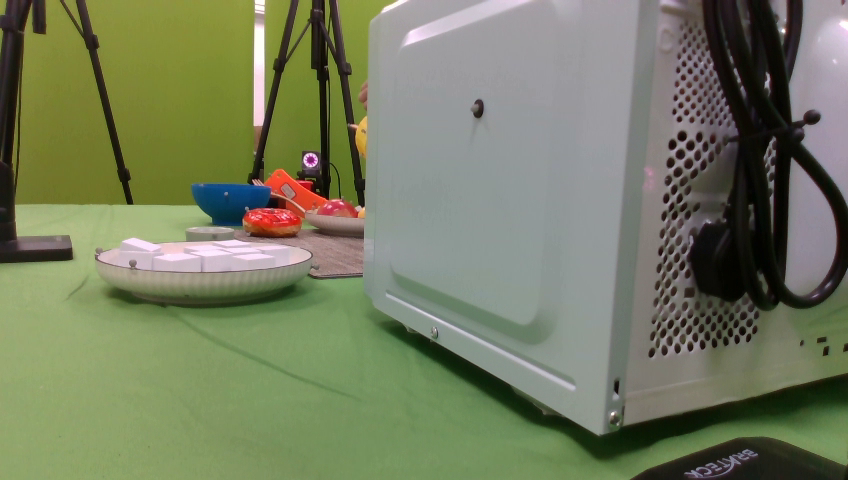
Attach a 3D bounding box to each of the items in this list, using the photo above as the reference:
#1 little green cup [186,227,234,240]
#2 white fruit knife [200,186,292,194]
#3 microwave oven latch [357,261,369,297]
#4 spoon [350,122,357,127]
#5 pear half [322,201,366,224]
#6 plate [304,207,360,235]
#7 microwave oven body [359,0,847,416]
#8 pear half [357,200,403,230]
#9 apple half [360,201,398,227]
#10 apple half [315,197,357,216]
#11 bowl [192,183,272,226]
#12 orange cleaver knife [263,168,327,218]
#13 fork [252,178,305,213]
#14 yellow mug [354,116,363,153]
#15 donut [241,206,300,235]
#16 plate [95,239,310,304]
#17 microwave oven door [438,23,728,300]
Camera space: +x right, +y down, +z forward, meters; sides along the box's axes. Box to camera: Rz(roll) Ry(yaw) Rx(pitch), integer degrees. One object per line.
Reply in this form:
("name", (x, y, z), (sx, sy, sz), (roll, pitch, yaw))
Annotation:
("little green cup", (-0.285, 0.005, 0.805), (0.061, 0.038, 0.061), (2, 8, 0))
("white fruit knife", (-0.399, -0.111, 1.368), (0.208, 0.016, 0.027), (-4, -19, -30))
("microwave oven latch", (-0.019, 0.033, 0.530), (0.079, 0.029, 0.030), (-1, 7, -26))
("spoon", (-0.096, -0.200, 1.162), (0.042, 0.021, 0.192), (-6, 30, -32))
("pear half", (-0.157, -0.059, 1.197), (0.088, 0.031, 0.070), (11, 32, -4))
("plate", (-0.123, -0.037, 1.149), (0.209, 0.038, 0.209), (2, 7, 0))
("microwave oven body", (0.211, -0.047, 0.474), (0.444, 0.260, 0.324), (-1, 7, -28))
("pear half", (-0.074, -0.047, 1.133), (0.076, 0.056, 0.110), (12, 9, 32))
("apple half", (-0.088, -0.058, 1.191), (0.081, 0.033, 0.081), (9, 30, -5))
("apple half", (-0.161, -0.052, 1.121), (0.081, 0.053, 0.074), (4, 8, -14))
("bowl", (-0.381, -0.071, 1.202), (0.151, 0.077, 0.151), (3, 7, 0))
("orange cleaver knife", (-0.263, -0.087, 1.353), (0.211, 0.077, 0.012), (28, 13, -1))
("fork", (-0.295, -0.084, 1.292), (0.206, 0.018, 0.028), (29, 10, 25))
("yellow mug", (-0.071, -0.195, 1.078), (0.100, 0.131, 0.063), (-18, 32, -15))
("donut", (-0.263, -0.032, 1.039), (0.099, 0.048, 0.099), (4, 10, 0))
("plate", (-0.224, 0.031, 0.629), (0.208, 0.039, 0.207), (2, 8, 0))
("microwave oven door", (0.181, -0.072, 0.621), (0.358, 0.243, 0.039), (-2, 8, -29))
